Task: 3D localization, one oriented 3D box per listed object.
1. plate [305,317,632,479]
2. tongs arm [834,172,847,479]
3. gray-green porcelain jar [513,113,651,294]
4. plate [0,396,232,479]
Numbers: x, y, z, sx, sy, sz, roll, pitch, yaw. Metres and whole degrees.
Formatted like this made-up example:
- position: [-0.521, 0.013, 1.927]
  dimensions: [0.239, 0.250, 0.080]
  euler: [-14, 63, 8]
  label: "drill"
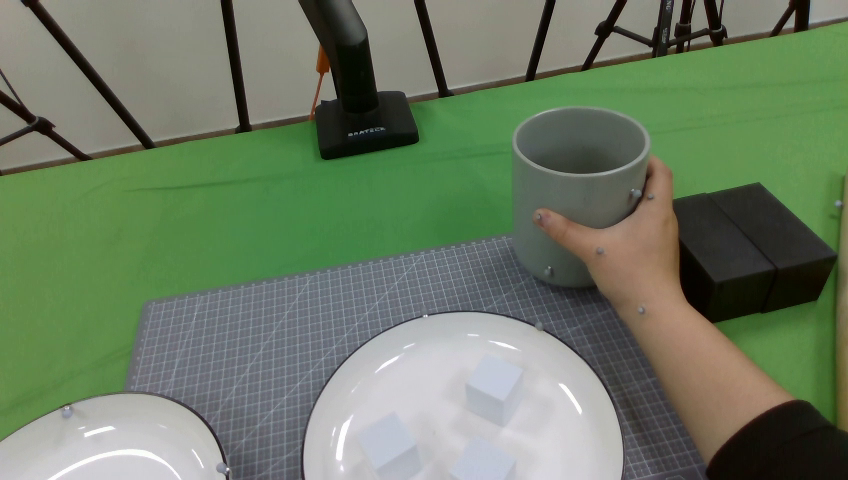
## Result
- position: [0.028, 0.140, 0.404]
  dimensions: [0.207, 0.039, 0.205]
  euler: [-4, 41, 4]
  label: "plate"
- position: [0.341, 0.050, 0.475]
  dimensions: [0.028, 0.028, 0.386]
  euler: [16, 46, 21]
  label: "tongs arm"
- position: [0.128, -0.027, 0.511]
  dimensions: [0.106, 0.128, 0.105]
  euler: [-4, 40, 4]
  label: "gray-green porcelain jar"
- position: [-0.218, 0.194, 0.376]
  dimensions: [0.209, 0.038, 0.207]
  euler: [-5, 41, 5]
  label: "plate"
